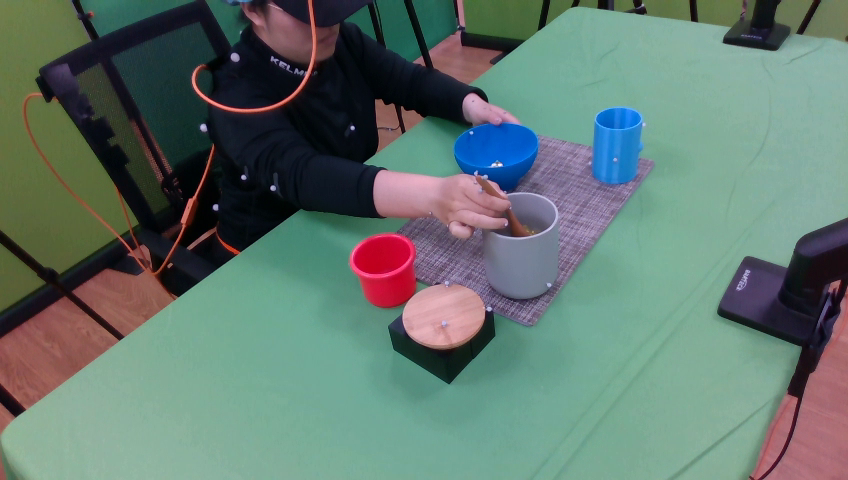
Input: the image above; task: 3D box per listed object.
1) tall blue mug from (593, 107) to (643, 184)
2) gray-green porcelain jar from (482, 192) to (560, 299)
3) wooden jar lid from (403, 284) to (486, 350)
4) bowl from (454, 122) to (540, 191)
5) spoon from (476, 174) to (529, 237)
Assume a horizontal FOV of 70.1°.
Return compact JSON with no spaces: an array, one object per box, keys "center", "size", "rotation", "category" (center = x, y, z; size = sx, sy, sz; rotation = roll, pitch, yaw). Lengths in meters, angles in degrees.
[{"center":[0.330,-0.172,1.052],"size":[0.078,0.108,0.106],"rotation":[-12,40,0],"category":"tall blue mug"},{"center":[0.139,0.012,0.858],"size":[0.106,0.127,0.105],"rotation":[-6,40,5],"category":"gray-green porcelain jar"},{"center":[0.027,0.101,0.786],"size":[0.108,0.021,0.108],"rotation":[-5,39,5],"category":"wooden jar lid"},{"center":[0.131,-0.140,1.078],"size":[0.151,0.077,0.150],"rotation":[-5,40,5],"category":"bowl"},{"center":[0.114,-0.036,0.827],"size":[0.041,0.195,0.021],"rotation":[19,70,40],"category":"spoon"}]
